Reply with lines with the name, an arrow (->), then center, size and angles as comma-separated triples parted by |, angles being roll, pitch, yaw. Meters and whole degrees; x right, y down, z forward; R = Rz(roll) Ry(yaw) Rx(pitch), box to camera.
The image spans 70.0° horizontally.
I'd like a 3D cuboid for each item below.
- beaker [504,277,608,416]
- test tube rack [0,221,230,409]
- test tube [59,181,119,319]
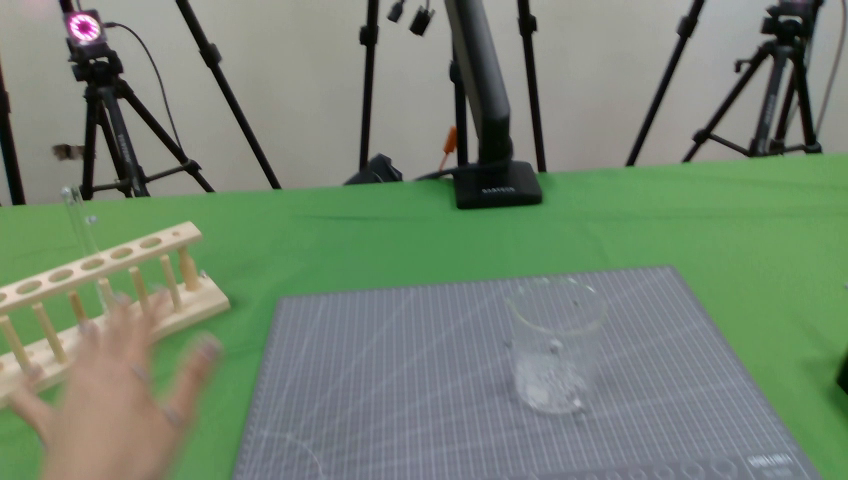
beaker -> 0.109, 0.092, 0.515 | 0.083, 0.101, 0.073 | 8, 34, 19
test tube rack -> -0.332, 0.071, 0.610 | 0.243, 0.086, 0.066 | -25, 38, -30
test tube -> -0.332, 0.013, 0.605 | 0.017, 0.151, 0.017 | -4, 25, 2
